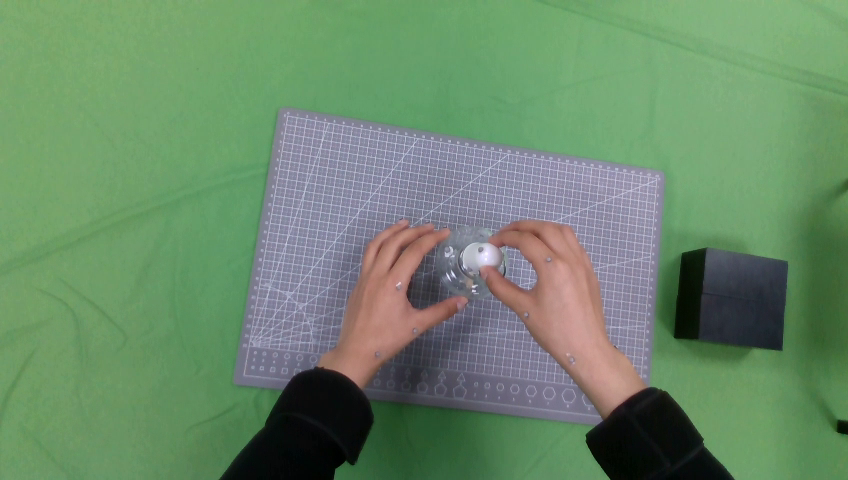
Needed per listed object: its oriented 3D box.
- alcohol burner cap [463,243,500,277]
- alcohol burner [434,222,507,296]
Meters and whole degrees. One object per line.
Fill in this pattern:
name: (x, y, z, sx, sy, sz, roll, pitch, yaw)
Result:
alcohol burner cap: (0.056, 0.018, 0.578, 0.034, 0.048, 0.034, 0, 84, -4)
alcohol burner: (0.051, 0.018, 0.616, 0.078, 0.119, 0.077, 1, 84, -10)
